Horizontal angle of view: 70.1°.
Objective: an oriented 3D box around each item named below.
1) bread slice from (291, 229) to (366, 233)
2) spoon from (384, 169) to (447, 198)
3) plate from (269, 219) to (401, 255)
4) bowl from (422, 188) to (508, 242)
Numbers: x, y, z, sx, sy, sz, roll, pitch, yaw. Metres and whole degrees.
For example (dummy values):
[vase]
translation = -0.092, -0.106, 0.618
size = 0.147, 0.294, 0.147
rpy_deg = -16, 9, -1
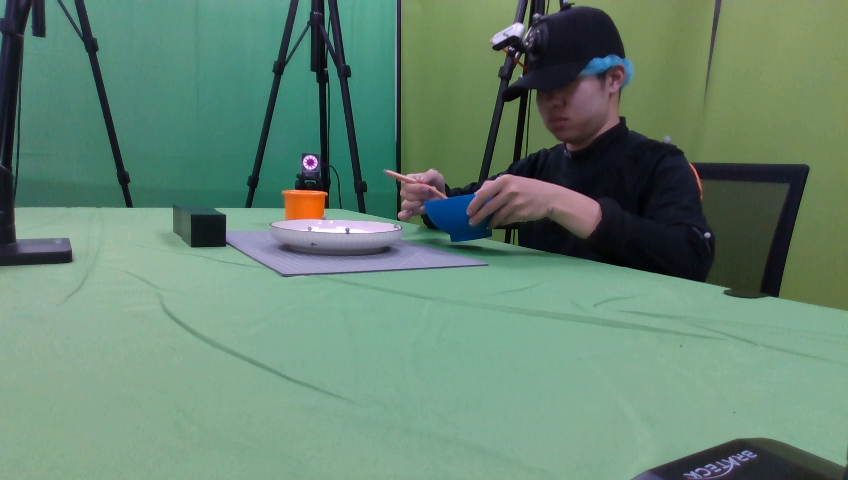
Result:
[bread slice]
translation = -0.143, -0.003, 0.953
size = 0.135, 0.018, 0.106
rpy_deg = -1, 8, -37
[spoon]
translation = 0.015, -0.086, 1.079
size = 0.193, 0.021, 0.042
rpy_deg = 29, 17, 9
[plate]
translation = -0.140, -0.006, 0.958
size = 0.209, 0.038, 0.209
rpy_deg = 3, 7, 0
[bowl]
translation = 0.076, -0.041, 1.049
size = 0.151, 0.077, 0.151
rpy_deg = -9, 4, 1
